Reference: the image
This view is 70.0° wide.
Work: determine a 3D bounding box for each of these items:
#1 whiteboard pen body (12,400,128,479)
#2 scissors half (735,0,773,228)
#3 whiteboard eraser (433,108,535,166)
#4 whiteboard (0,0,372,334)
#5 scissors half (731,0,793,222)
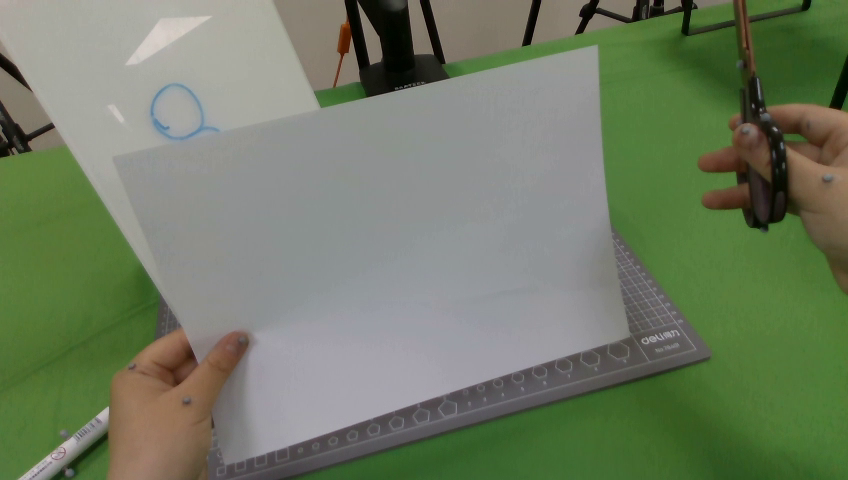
[{"bbox_3d":[-0.287,0.172,0.453,0.017,0.017,0.140,22,47,30],"label":"whiteboard pen body"},{"bbox_3d":[0.197,-0.094,0.372,0.013,0.175,0.040,-7,3,9],"label":"scissors half"},{"bbox_3d":[0.070,-0.120,0.717,0.113,0.042,0.055,-15,44,-9],"label":"whiteboard eraser"},{"bbox_3d":[-0.225,-0.107,0.596,0.217,0.308,0.142,-34,27,-26],"label":"whiteboard"},{"bbox_3d":[0.192,-0.097,0.353,0.013,0.040,0.174,-8,76,14],"label":"scissors half"}]
